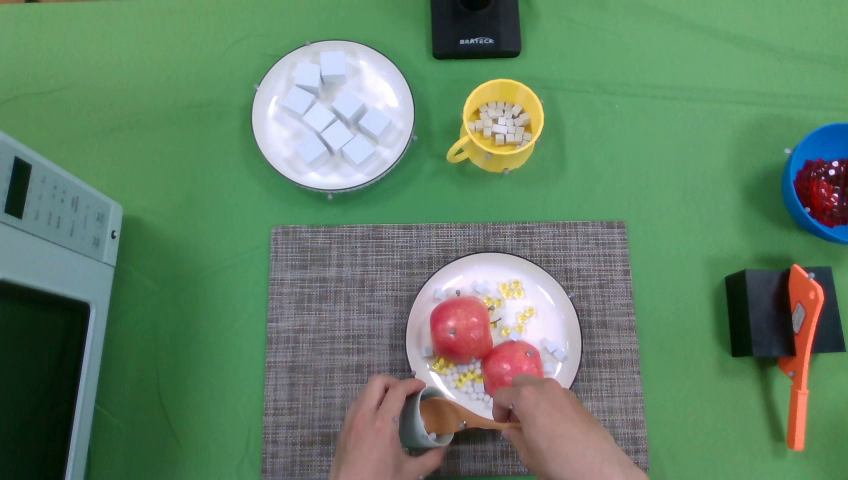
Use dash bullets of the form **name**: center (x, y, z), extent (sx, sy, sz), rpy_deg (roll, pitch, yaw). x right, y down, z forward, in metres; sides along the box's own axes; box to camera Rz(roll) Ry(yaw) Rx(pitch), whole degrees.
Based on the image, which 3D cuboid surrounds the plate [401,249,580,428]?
- **plate**: center (0.077, 0.115, 0.718), extent (0.209, 0.038, 0.208), rpy_deg (0, 78, -1)

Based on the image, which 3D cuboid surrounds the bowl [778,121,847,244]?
- **bowl**: center (0.500, -0.061, 0.745), extent (0.151, 0.077, 0.150), rpy_deg (0, 78, 0)

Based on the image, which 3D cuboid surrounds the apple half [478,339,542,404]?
- **apple half**: center (0.101, 0.153, 0.704), extent (0.081, 0.033, 0.081), rpy_deg (0, 75, 0)

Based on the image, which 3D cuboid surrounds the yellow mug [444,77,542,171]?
- **yellow mug**: center (0.082, -0.137, 0.764), extent (0.131, 0.064, 0.099), rpy_deg (-32, 79, -7)

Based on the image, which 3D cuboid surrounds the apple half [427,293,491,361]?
- **apple half**: center (0.040, 0.101, 0.705), extent (0.074, 0.053, 0.080), rpy_deg (-3, 78, 1)

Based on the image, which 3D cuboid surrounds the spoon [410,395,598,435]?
- **spoon**: center (0.072, 0.178, 0.592), extent (0.193, 0.022, 0.041), rpy_deg (-3, 97, 32)

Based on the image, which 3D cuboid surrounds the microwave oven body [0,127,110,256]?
- **microwave oven body**: center (-0.543, 0.126, 0.596), extent (0.326, 0.261, 0.439), rpy_deg (3, 78, 0)

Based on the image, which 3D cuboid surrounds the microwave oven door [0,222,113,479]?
- **microwave oven door**: center (-0.399, 0.173, 0.582), extent (0.039, 0.245, 0.354), rpy_deg (2, 77, 0)

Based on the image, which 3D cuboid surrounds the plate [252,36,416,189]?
- **plate**: center (-0.114, -0.161, 0.783), extent (0.208, 0.039, 0.206), rpy_deg (0, 77, 0)

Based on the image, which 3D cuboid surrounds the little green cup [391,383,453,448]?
- **little green cup**: center (-0.003, 0.185, 0.630), extent (0.062, 0.039, 0.061), rpy_deg (26, 40, -24)

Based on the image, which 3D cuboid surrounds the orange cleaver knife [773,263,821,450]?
- **orange cleaver knife**: center (0.424, 0.134, 0.698), extent (0.012, 0.077, 0.212), rpy_deg (0, 101, 4)

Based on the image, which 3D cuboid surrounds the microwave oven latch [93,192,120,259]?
- **microwave oven latch**: center (-0.388, -0.018, 0.728), extent (0.030, 0.029, 0.079), rpy_deg (4, 78, 0)
